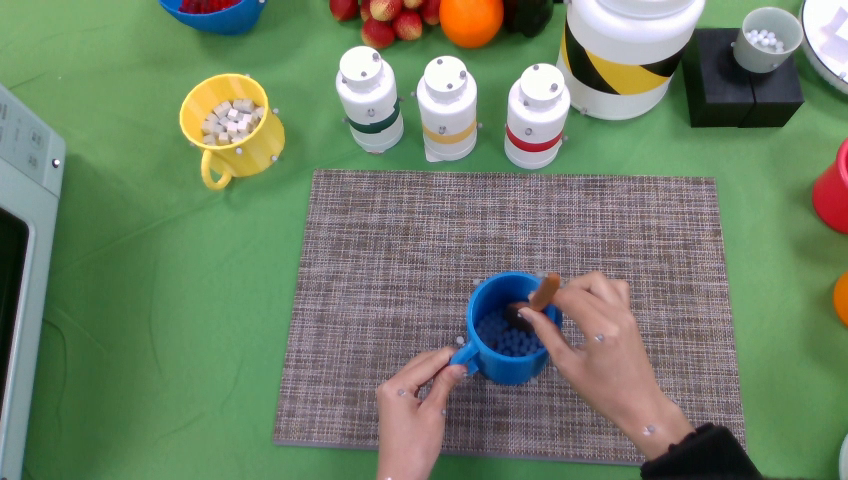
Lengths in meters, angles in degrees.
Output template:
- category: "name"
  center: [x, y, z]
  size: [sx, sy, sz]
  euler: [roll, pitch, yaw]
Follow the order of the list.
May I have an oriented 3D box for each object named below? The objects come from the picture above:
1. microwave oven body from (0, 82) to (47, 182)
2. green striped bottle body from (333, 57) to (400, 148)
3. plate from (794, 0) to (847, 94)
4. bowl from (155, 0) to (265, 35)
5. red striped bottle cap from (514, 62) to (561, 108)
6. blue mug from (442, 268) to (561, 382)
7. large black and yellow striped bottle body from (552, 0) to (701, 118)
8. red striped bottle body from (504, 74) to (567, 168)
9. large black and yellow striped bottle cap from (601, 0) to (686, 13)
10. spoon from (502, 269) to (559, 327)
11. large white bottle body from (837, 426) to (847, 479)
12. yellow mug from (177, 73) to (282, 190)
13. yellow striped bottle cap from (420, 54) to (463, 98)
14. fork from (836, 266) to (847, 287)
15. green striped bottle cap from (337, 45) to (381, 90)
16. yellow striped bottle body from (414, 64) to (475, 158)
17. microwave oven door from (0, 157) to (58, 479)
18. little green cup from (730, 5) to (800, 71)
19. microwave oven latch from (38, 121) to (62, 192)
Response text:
- category: "microwave oven body"
  center: [-0.574, 0.050, 0.543]
  size: [0.326, 0.262, 0.438]
  euler: [-7, 69, 1]
- category: "green striped bottle body"
  center: [-0.062, -0.157, 0.667]
  size: [0.063, 0.120, 0.062]
  euler: [-1, 68, 4]
- category: "plate"
  center: [0.532, -0.238, 0.700]
  size: [0.209, 0.038, 0.207]
  euler: [-1, 69, 4]
- category: "bowl"
  center: [-0.259, -0.316, 0.767]
  size: [0.151, 0.077, 0.150]
  euler: [-1, 68, 3]
- category: "red striped bottle cap"
  center: [0.112, -0.153, 0.596]
  size: [0.044, 0.018, 0.044]
  euler: [0, 67, 0]
- category: "blue mug"
  center: [0.066, 0.091, 0.563]
  size: [0.116, 0.106, 0.081]
  euler: [-33, 68, -9]
- category: "large black and yellow striped bottle body"
  center: [0.211, -0.232, 0.642]
  size: [0.131, 0.185, 0.130]
  euler: [-1, 68, 4]
- category: "red striped bottle body"
  center: [0.117, -0.133, 0.644]
  size: [0.063, 0.120, 0.062]
  euler: [-2, 67, 6]
- category: "large black and yellow striped bottle cap"
  center: [0.204, -0.262, 0.564]
  size: [0.115, 0.019, 0.114]
  euler: [-2, 67, 4]
- category: "spoon"
  center: [0.092, 0.052, 0.509]
  size: [0.041, 0.194, 0.021]
  euler: [23, 79, 8]
- category: "large white bottle body"
  center: [0.430, 0.180, 0.462]
  size: [0.130, 0.186, 0.129]
  euler: [-1, 68, 4]
- category: "yellow mug"
  center: [-0.226, -0.118, 0.693]
  size: [0.100, 0.064, 0.130]
  euler: [11, 70, 8]
- category: "yellow striped bottle cap"
  center: [0.018, -0.164, 0.608]
  size: [0.044, 0.019, 0.044]
  euler: [0, 65, -1]
- category: "fork"
  center: [0.463, 0.065, 0.525]
  size: [0.028, 0.019, 0.205]
  euler: [-35, 26, -9]
- category: "green striped bottle cap"
  center: [-0.067, -0.176, 0.619]
  size: [0.044, 0.020, 0.044]
  euler: [-2, 65, 4]
- category: "yellow striped bottle body"
  center: [0.023, -0.145, 0.656]
  size: [0.063, 0.121, 0.062]
  euler: [-2, 67, 4]
- category: "microwave oven door"
  center: [-0.425, 0.070, 0.519]
  size: [0.039, 0.245, 0.353]
  euler: [-7, 68, 2]
- category: "little green cup"
  center: [0.361, -0.214, 0.647]
  size: [0.061, 0.039, 0.061]
  euler: [0, 66, 1]
- category: "microwave oven latch"
  center: [-0.438, -0.094, 0.694]
  size: [0.030, 0.030, 0.078]
  euler: [-5, 69, 2]
